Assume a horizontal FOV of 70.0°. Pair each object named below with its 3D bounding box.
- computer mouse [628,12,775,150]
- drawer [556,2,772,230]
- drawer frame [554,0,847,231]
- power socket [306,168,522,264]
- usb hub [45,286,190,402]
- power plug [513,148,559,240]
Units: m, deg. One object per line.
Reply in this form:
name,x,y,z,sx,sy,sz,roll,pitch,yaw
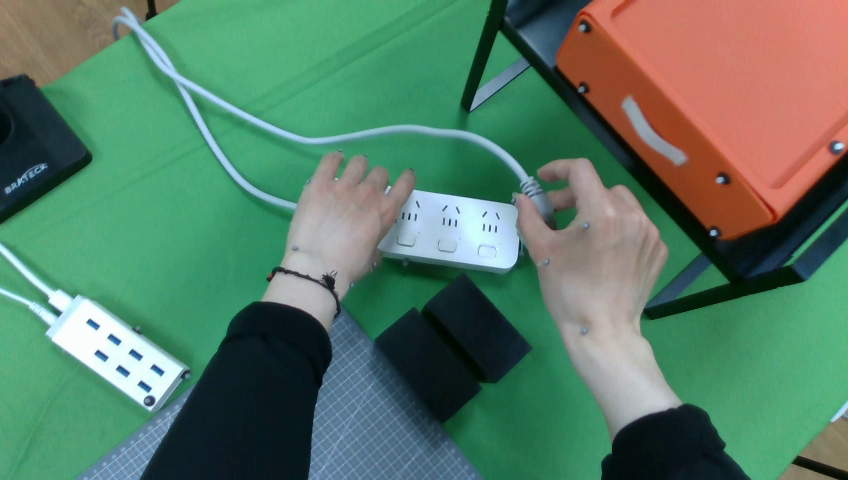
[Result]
computer mouse,0.221,-0.129,0.480,0.063,0.041,0.117,-43,83,-8
drawer,0.246,-0.147,0.471,0.211,0.073,0.194,-39,84,-13
drawer frame,0.248,-0.151,0.471,0.213,0.083,0.201,-40,84,-13
power socket,-0.006,-0.024,0.628,0.227,0.032,0.072,8,77,-4
usb hub,-0.291,0.099,0.577,0.125,0.025,0.049,35,78,2
power plug,0.090,-0.035,0.505,0.035,0.053,0.072,-5,73,-11
